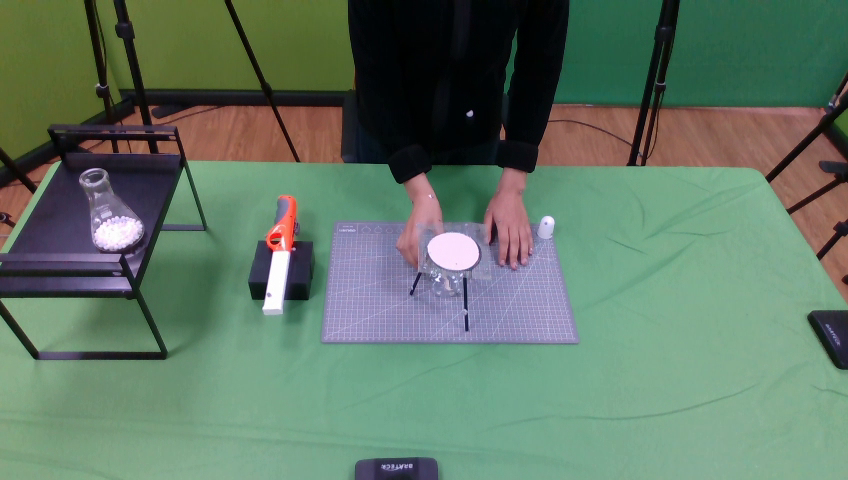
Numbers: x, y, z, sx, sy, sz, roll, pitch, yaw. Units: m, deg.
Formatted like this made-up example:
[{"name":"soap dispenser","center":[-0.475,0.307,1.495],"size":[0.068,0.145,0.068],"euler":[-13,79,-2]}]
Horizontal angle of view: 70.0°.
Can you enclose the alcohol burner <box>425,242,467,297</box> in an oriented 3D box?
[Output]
[{"name":"alcohol burner","center":[0.041,0.047,1.089],"size":[0.078,0.119,0.077],"euler":[3,45,-3]}]

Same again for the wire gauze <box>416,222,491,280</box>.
[{"name":"wire gauze","center":[0.047,0.014,1.013],"size":[0.125,0.011,0.120],"euler":[3,47,-3]}]

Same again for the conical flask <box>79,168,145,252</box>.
[{"name":"conical flask","center":[-0.463,-0.048,0.888],"size":[0.075,0.122,0.075],"euler":[2,46,-2]}]

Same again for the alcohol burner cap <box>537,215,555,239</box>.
[{"name":"alcohol burner cap","center":[0.249,-0.029,1.228],"size":[0.034,0.048,0.033],"euler":[1,48,-1]}]

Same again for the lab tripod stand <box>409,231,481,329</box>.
[{"name":"lab tripod stand","center":[0.051,0.064,1.059],"size":[0.148,0.132,0.147],"euler":[4,46,-3]}]

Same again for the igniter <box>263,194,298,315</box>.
[{"name":"igniter","center":[-0.259,0.016,1.093],"size":[0.057,0.025,0.274],"euler":[-3,49,-2]}]
